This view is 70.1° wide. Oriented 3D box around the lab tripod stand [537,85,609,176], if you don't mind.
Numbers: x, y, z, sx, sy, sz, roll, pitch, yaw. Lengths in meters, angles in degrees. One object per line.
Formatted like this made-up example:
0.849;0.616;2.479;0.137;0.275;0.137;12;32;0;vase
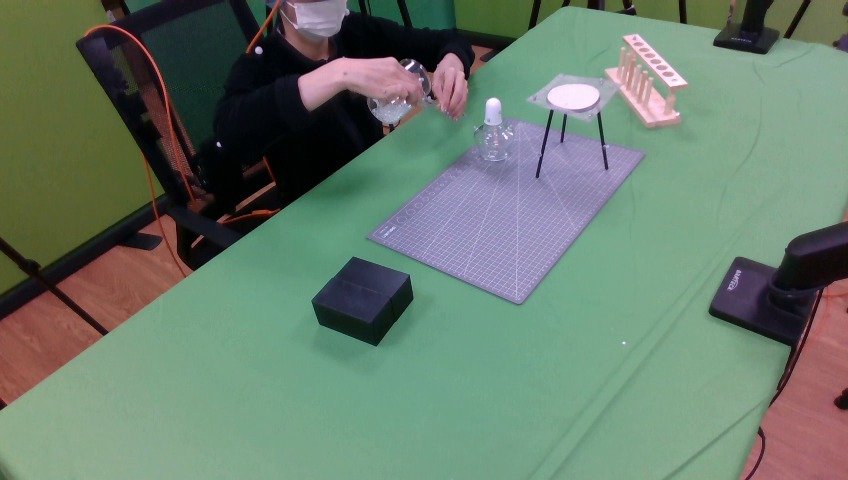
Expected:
0.259;-0.192;1.068;0.148;0.132;0.147;-4;42;4;lab tripod stand

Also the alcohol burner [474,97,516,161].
0.131;-0.208;1.121;0.078;0.119;0.077;-6;40;5;alcohol burner

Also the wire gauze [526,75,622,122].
0.255;-0.248;1.030;0.124;0.011;0.122;24;51;32;wire gauze

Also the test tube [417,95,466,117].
0.036;-0.253;1.146;0.017;0.017;0.151;26;15;33;test tube

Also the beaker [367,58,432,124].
-0.043;-0.251;1.038;0.073;0.084;0.100;14;49;35;beaker

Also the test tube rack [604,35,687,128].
0.447;-0.330;1.241;0.067;0.085;0.241;-9;41;-2;test tube rack

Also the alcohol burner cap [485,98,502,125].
0.126;-0.234;1.097;0.034;0.048;0.033;-3;39;3;alcohol burner cap
